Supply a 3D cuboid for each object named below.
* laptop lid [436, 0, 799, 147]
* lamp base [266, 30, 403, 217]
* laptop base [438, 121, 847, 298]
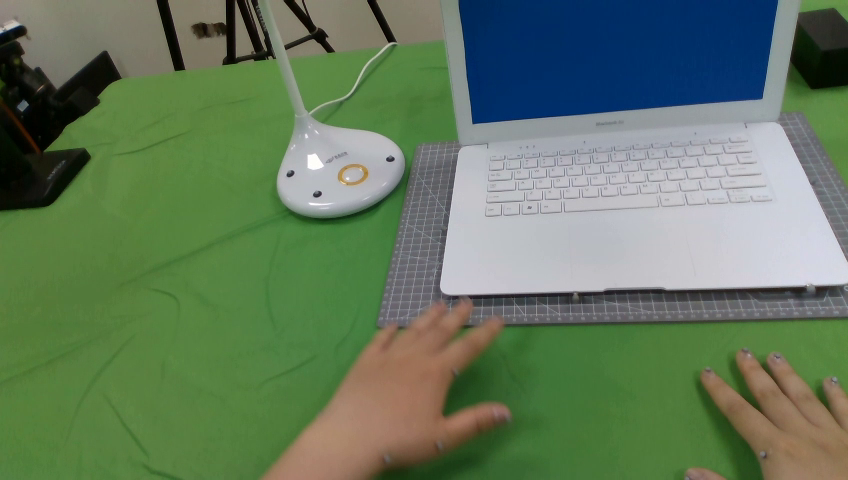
[{"bbox_3d":[0.194,-0.211,0.631,0.356,0.244,0.013,-4,36,13],"label":"laptop lid"},{"bbox_3d":[-0.127,-0.144,0.699,0.160,0.182,0.177,-38,45,-25],"label":"lamp base"},{"bbox_3d":[0.198,-0.033,0.617,0.353,0.023,0.233,-3,47,12],"label":"laptop base"}]
